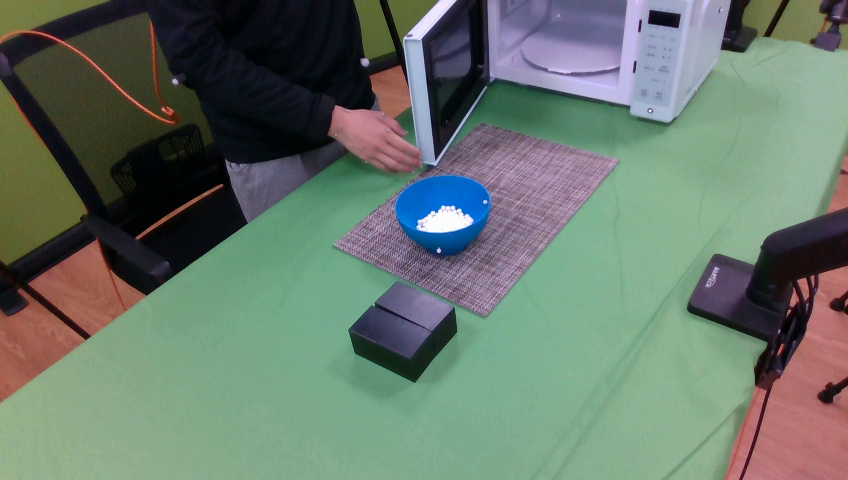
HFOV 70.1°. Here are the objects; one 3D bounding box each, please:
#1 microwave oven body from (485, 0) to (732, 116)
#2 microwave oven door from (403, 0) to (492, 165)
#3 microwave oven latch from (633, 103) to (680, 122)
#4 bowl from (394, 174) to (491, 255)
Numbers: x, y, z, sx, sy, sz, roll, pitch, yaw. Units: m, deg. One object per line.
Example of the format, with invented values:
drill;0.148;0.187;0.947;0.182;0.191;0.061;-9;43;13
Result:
microwave oven body;0.377;-0.462;1.267;0.438;0.261;0.327;21;48;30
microwave oven door;0.057;-0.343;1.166;0.039;0.245;0.356;10;43;20
microwave oven latch;0.443;-0.249;1.157;0.078;0.029;0.030;21;48;30
bowl;0.032;-0.030;0.949;0.151;0.077;0.150;-4;40;4
